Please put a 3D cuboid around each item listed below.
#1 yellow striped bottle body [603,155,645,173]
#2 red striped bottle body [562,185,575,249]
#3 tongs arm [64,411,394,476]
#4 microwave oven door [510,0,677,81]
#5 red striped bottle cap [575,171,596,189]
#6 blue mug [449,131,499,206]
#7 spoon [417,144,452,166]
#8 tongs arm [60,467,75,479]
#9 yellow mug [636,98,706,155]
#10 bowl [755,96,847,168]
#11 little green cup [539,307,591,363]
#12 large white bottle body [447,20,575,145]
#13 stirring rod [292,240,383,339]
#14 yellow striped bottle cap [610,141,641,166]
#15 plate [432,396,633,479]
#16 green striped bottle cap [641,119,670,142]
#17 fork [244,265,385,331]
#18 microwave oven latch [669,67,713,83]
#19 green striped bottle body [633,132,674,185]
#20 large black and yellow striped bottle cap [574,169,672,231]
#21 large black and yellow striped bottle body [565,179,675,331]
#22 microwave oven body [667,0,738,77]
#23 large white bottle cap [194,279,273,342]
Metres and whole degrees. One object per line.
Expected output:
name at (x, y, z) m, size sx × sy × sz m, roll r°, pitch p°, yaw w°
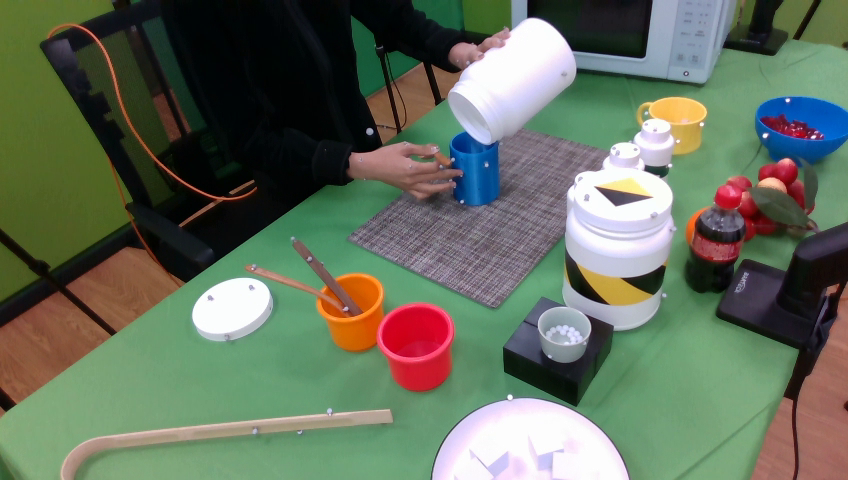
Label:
yellow striped bottle body at (0.314, -0.091, 0.957) m, size 0.063 × 0.121 × 0.062 m, roll -4°, pitch 40°, yaw 4°
red striped bottle body at (0.246, -0.041, 0.910) m, size 0.063 × 0.120 × 0.063 m, roll 0°, pitch 38°, yaw 0°
tongs arm at (-0.228, 0.241, 0.715) m, size 0.385 × 0.026 × 0.050 m, roll -5°, pitch 44°, yaw 5°
microwave oven door at (0.354, -0.478, 1.290) m, size 0.353 × 0.245 × 0.039 m, roll 15°, pitch 45°, yaw 25°
red striped bottle cap at (0.242, -0.081, 0.876) m, size 0.044 × 0.018 × 0.044 m, roll -5°, pitch 43°, yaw 5°
blue mug at (0.090, -0.135, 1.050) m, size 0.082 × 0.106 × 0.116 m, roll 2°, pitch 41°, yaw 10°
spoon at (0.018, -0.142, 1.018) m, size 0.041 × 0.022 × 0.193 m, roll -26°, pitch 15°, yaw -3°
tongs arm at (-0.239, 0.301, 0.649) m, size 0.386 × 0.028 × 0.028 m, roll 6°, pitch 49°, yaw 16°
yellow mug at (0.453, -0.217, 1.128) m, size 0.100 × 0.064 × 0.129 m, roll -34°, pitch 46°, yaw -27°
bowl at (0.645, -0.177, 1.041) m, size 0.151 × 0.077 × 0.150 m, roll -5°, pitch 40°, yaw 4°
little green cup at (0.167, 0.114, 0.721) m, size 0.061 × 0.039 × 0.061 m, roll -4°, pitch 43°, yaw 4°
large white bottle body at (0.139, -0.254, 0.989) m, size 0.185 × 0.131 × 0.129 m, roll -41°, pitch 48°, yaw -10°
stirring rod at (-0.118, 0.068, 0.825) m, size 0.176 × 0.006 × 0.014 m, roll 48°, pitch 59°, yaw -3°
yellow striped bottle cap at (0.308, -0.131, 0.925) m, size 0.044 × 0.019 × 0.044 m, roll -4°, pitch 46°, yaw 4°
plate at (0.112, 0.261, 0.635) m, size 0.209 × 0.038 × 0.208 m, roll -5°, pitch 40°, yaw 4°
green striped bottle cap at (0.371, -0.175, 0.968) m, size 0.044 × 0.020 × 0.044 m, roll -4°, pitch 42°, yaw 4°
fork at (-0.142, 0.078, 0.806) m, size 0.209 × 0.018 × 0.028 m, roll 30°, pitch 32°, yaw -23°
microwave oven latch at (0.556, -0.349, 1.261) m, size 0.078 × 0.029 × 0.030 m, roll 16°, pitch 46°, yaw 27°
green striped bottle body at (0.376, -0.135, 1.001) m, size 0.063 × 0.120 × 0.063 m, roll -5°, pitch 40°, yaw 5°
large black and yellow striped bottle cap at (0.242, -0.051, 0.738) m, size 0.115 × 0.019 × 0.114 m, roll -4°, pitch 37°, yaw 3°
large black and yellow striped bottle body at (0.254, 0.014, 0.793) m, size 0.131 × 0.185 × 0.130 m, roll -5°, pitch 40°, yaw 4°
microwave oven body at (0.462, -0.552, 1.369) m, size 0.439 × 0.261 × 0.326 m, roll 15°, pitch 45°, yaw 26°
large white bottle cap at (-0.284, 0.103, 0.902) m, size 0.115 × 0.018 × 0.114 m, roll -4°, pitch 40°, yaw 4°
